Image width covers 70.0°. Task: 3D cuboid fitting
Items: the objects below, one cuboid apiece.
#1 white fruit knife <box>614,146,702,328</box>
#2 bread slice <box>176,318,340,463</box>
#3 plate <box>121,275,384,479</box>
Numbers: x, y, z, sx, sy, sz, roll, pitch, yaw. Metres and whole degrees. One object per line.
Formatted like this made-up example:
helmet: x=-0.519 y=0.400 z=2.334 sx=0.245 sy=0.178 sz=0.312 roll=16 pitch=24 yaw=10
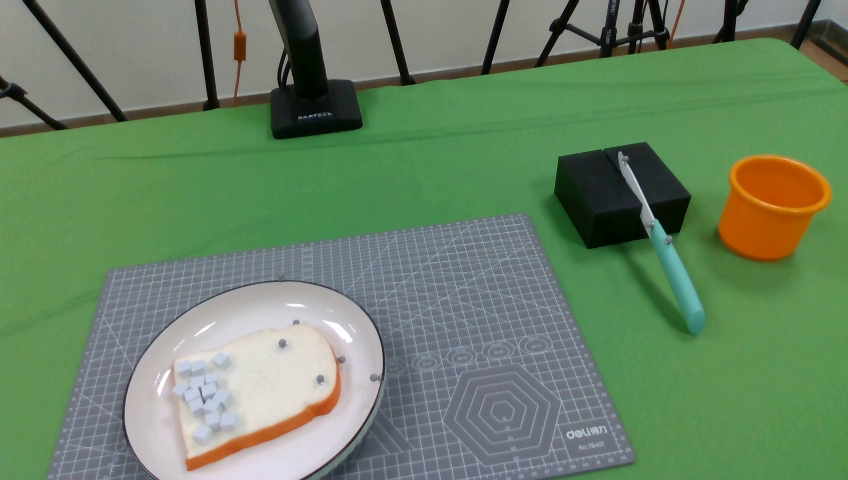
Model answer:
white fruit knife: x=0.222 y=-0.013 z=0.590 sx=0.016 sy=0.027 sz=0.205 roll=-9 pitch=59 yaw=-7
bread slice: x=-0.138 y=0.114 z=0.507 sx=0.132 sy=0.019 sz=0.103 roll=-19 pitch=47 yaw=-15
plate: x=-0.135 y=0.116 z=0.501 sx=0.209 sy=0.038 sz=0.207 roll=-1 pitch=44 yaw=1
